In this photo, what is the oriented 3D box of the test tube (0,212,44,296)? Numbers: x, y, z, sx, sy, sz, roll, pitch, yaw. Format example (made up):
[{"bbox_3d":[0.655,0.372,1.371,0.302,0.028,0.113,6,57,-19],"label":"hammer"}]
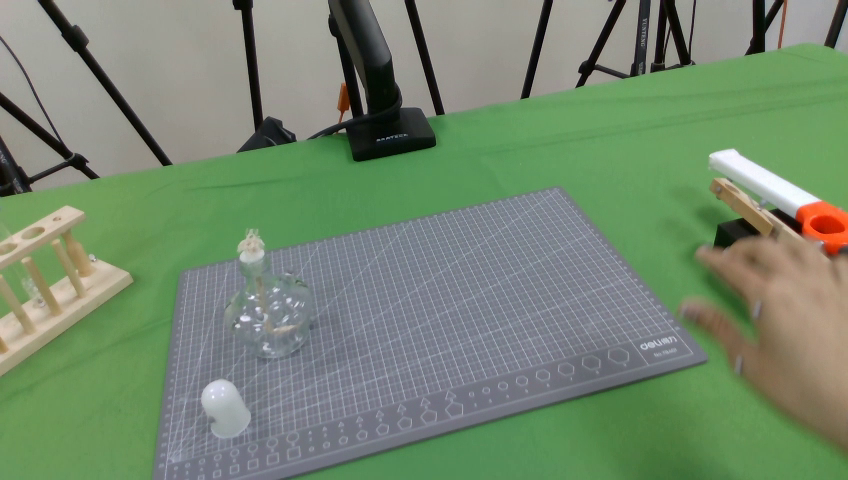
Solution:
[{"bbox_3d":[-0.408,-0.005,0.588,0.017,0.151,0.017,-5,34,4],"label":"test tube"}]

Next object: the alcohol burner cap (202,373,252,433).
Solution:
[{"bbox_3d":[-0.161,0.128,0.486,0.034,0.048,0.033,-4,37,3],"label":"alcohol burner cap"}]

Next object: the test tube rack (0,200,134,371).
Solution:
[{"bbox_3d":[-0.414,0.065,0.580,0.066,0.086,0.241,17,43,28],"label":"test tube rack"}]

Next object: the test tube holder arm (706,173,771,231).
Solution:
[{"bbox_3d":[0.296,-0.037,0.569,0.010,0.015,0.087,-8,36,-12],"label":"test tube holder arm"}]

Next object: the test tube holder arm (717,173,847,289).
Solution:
[{"bbox_3d":[0.313,-0.013,0.535,0.013,0.015,0.176,-9,36,-13],"label":"test tube holder arm"}]

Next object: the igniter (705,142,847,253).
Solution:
[{"bbox_3d":[0.350,-0.027,0.543,0.057,0.025,0.273,-14,34,-8],"label":"igniter"}]

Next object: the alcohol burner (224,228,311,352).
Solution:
[{"bbox_3d":[-0.142,0.041,0.537,0.078,0.120,0.077,-5,35,4],"label":"alcohol burner"}]
